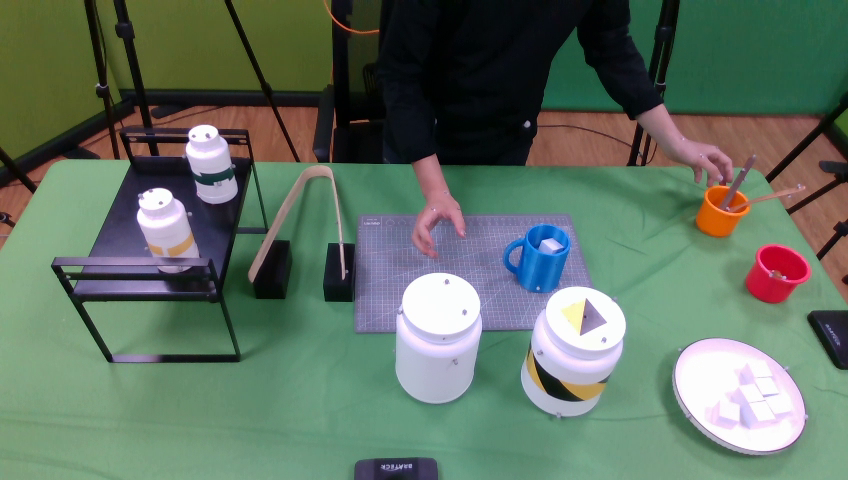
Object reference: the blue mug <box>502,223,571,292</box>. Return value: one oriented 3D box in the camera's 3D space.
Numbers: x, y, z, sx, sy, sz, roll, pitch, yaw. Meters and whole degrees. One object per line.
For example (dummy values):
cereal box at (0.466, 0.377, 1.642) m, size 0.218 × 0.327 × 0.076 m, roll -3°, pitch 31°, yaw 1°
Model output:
blue mug at (0.203, 0.032, 1.121) m, size 0.116 × 0.106 × 0.082 m, roll 5°, pitch 47°, yaw 1°

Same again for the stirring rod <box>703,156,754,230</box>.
stirring rod at (0.632, -0.098, 1.258) m, size 0.014 × 0.006 × 0.176 m, roll 33°, pitch 95°, yaw 29°

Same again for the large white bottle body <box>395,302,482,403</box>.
large white bottle body at (0.020, 0.153, 0.939) m, size 0.131 × 0.185 × 0.130 m, roll 2°, pitch 46°, yaw -2°

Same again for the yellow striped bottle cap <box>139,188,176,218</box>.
yellow striped bottle cap at (-0.363, -0.050, 0.826) m, size 0.044 × 0.019 × 0.044 m, roll 1°, pitch 47°, yaw 0°

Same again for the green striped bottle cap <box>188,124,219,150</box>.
green striped bottle cap at (-0.339, -0.158, 0.931) m, size 0.044 × 0.020 × 0.044 m, roll 3°, pitch 47°, yaw -3°

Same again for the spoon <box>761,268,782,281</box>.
spoon at (0.638, 0.060, 1.105) m, size 0.041 × 0.021 × 0.194 m, roll 38°, pitch 11°, yaw 25°

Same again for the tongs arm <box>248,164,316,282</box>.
tongs arm at (-0.269, -0.048, 1.165) m, size 0.028 × 0.028 × 0.385 m, roll 0°, pitch 34°, yaw 7°

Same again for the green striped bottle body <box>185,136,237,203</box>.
green striped bottle body at (-0.341, -0.121, 0.969) m, size 0.063 × 0.120 × 0.063 m, roll 2°, pitch 46°, yaw -2°

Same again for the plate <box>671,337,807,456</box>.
plate at (0.503, 0.254, 0.984) m, size 0.208 × 0.039 × 0.206 m, roll 2°, pitch 46°, yaw -2°

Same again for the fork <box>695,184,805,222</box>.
fork at (0.657, -0.075, 1.230) m, size 0.207 × 0.019 × 0.028 m, roll -23°, pitch 34°, yaw 37°

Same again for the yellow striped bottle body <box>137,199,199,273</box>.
yellow striped bottle body at (-0.366, -0.014, 0.863) m, size 0.063 × 0.121 × 0.062 m, roll 2°, pitch 46°, yaw -2°

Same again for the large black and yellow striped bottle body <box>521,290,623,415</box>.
large black and yellow striped bottle body at (0.228, 0.173, 0.938) m, size 0.131 × 0.185 × 0.130 m, roll 2°, pitch 47°, yaw -2°

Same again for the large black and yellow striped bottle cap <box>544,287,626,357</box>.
large black and yellow striped bottle cap at (0.232, 0.116, 0.876) m, size 0.115 × 0.019 × 0.114 m, roll 2°, pitch 46°, yaw -1°

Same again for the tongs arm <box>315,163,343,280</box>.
tongs arm at (-0.187, -0.049, 1.170) m, size 0.051 × 0.026 × 0.382 m, roll -5°, pitch 35°, yaw -6°

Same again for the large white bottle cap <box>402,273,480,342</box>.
large white bottle cap at (0.024, 0.095, 0.878) m, size 0.115 × 0.018 × 0.114 m, roll 2°, pitch 47°, yaw -2°
